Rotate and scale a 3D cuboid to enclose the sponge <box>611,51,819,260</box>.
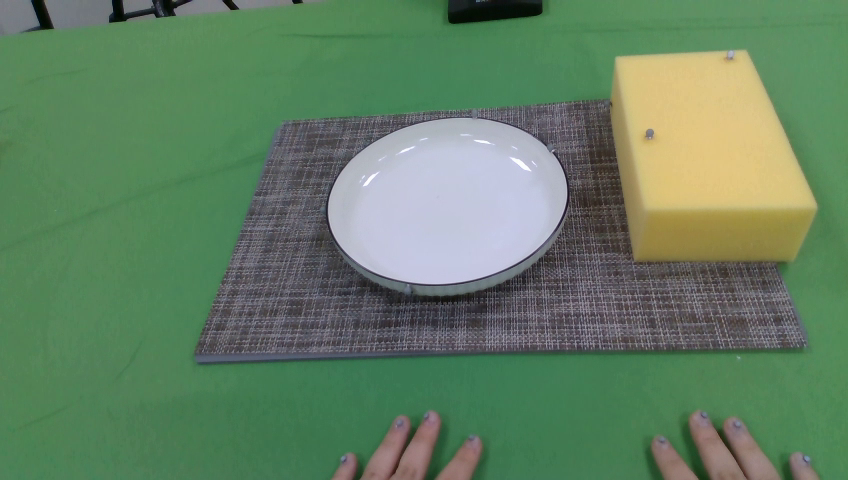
[{"bbox_3d":[0.231,-0.078,0.516,0.118,0.061,0.205,-1,47,9],"label":"sponge"}]

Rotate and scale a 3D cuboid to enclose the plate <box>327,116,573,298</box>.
[{"bbox_3d":[0.022,-0.030,0.524,0.207,0.039,0.205,-5,47,6],"label":"plate"}]
